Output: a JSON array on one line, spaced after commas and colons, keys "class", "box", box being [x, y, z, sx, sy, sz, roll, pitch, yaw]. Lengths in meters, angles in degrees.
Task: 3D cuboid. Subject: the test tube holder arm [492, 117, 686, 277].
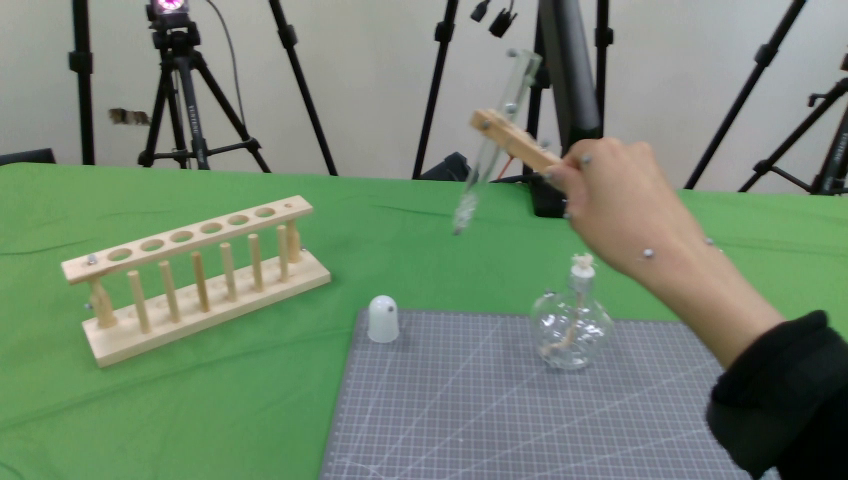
[{"class": "test tube holder arm", "box": [0.106, -0.036, 0.421, 0.013, 0.015, 0.176, -15, 48, -43]}]

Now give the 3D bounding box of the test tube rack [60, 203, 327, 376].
[{"class": "test tube rack", "box": [-0.226, 0.043, 0.629, 0.243, 0.086, 0.066, -20, 38, -31]}]

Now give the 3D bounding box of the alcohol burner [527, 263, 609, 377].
[{"class": "alcohol burner", "box": [0.138, 0.070, 0.569, 0.078, 0.120, 0.077, 2, 34, -1]}]

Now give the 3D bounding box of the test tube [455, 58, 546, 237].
[{"class": "test tube", "box": [0.055, -0.064, 0.459, 0.017, 0.151, 0.017, 16, 31, -10]}]

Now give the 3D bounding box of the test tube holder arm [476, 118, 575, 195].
[{"class": "test tube holder arm", "box": [0.073, -0.061, 0.438, 0.087, 0.015, 0.010, 39, 36, 23]}]

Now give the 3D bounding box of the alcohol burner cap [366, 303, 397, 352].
[{"class": "alcohol burner cap", "box": [-0.043, 0.085, 0.606, 0.034, 0.048, 0.033, 2, 33, -1]}]
